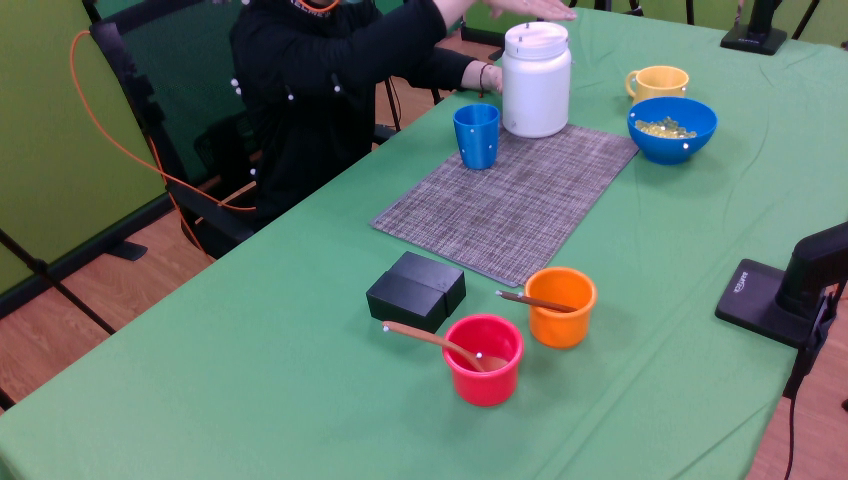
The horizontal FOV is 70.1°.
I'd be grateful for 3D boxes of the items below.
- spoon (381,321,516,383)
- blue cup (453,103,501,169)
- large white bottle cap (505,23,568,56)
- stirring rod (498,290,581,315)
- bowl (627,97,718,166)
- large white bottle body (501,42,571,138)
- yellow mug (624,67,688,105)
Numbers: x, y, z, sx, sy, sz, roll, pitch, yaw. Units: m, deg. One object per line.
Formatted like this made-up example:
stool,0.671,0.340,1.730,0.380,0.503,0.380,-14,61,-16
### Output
spoon,0.033,0.131,0.725,0.195,0.021,0.041,29,29,-26
blue cup,0.099,-0.188,1.114,0.092,0.100,0.092,-4,39,4
large white bottle cap,0.208,-0.372,1.117,0.115,0.018,0.114,-4,41,4
stirring rod,0.151,0.081,0.772,0.178,0.006,0.014,16,20,-44
bowl,0.439,-0.187,1.087,0.151,0.077,0.150,-4,41,4
large white bottle body,0.216,-0.307,1.172,0.130,0.185,0.130,-4,41,4
yellow mug,0.464,-0.306,1.230,0.100,0.064,0.129,-34,46,-27
